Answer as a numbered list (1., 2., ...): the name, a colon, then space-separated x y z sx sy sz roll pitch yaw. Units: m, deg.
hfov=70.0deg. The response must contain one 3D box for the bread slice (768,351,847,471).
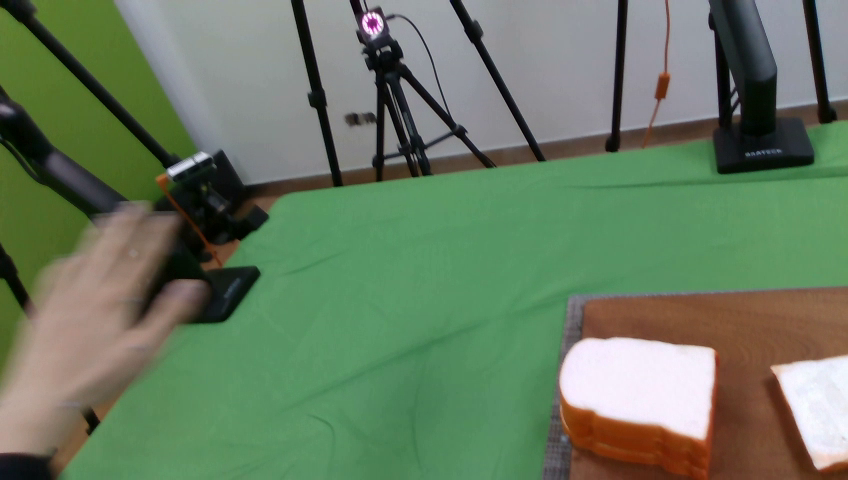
1. bread slice: 0.366 0.132 0.488 0.131 0.019 0.104 -15 32 19

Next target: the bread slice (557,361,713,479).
1. bread slice: 0.191 0.152 0.556 0.133 0.018 0.106 6 40 29
